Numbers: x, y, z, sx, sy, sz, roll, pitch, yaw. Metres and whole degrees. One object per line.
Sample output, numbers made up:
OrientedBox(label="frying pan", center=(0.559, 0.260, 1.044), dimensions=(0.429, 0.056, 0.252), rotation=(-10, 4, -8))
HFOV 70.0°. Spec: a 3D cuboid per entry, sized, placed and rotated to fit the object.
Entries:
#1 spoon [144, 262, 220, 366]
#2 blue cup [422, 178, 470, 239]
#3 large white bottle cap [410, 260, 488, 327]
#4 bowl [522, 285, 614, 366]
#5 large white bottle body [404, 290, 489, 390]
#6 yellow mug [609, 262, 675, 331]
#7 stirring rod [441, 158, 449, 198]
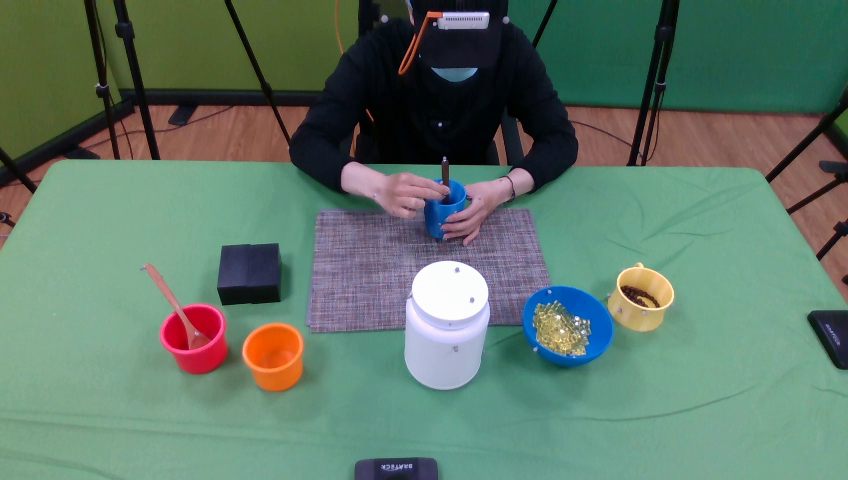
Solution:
OrientedBox(label="spoon", center=(-0.389, 0.118, 0.971), dimensions=(0.041, 0.021, 0.194), rotation=(-34, 101, -33))
OrientedBox(label="blue cup", center=(0.038, -0.057, 1.194), dimensions=(0.093, 0.101, 0.092), rotation=(2, 44, -1))
OrientedBox(label="large white bottle cap", center=(0.037, 0.077, 0.893), dimensions=(0.115, 0.018, 0.114), rotation=(2, 46, -2))
OrientedBox(label="bowl", center=(0.235, 0.158, 1.022), dimensions=(0.151, 0.077, 0.150), rotation=(2, 46, -2))
OrientedBox(label="large white bottle body", center=(0.034, 0.136, 0.955), dimensions=(0.131, 0.185, 0.130), rotation=(2, 46, -2))
OrientedBox(label="yellow mug", center=(0.393, 0.094, 1.103), dimensions=(0.100, 0.064, 0.130), rotation=(7, 45, 4))
OrientedBox(label="stirring rod", center=(0.041, -0.082, 1.149), dimensions=(0.014, 0.177, 0.006), rotation=(-17, 46, -13))
